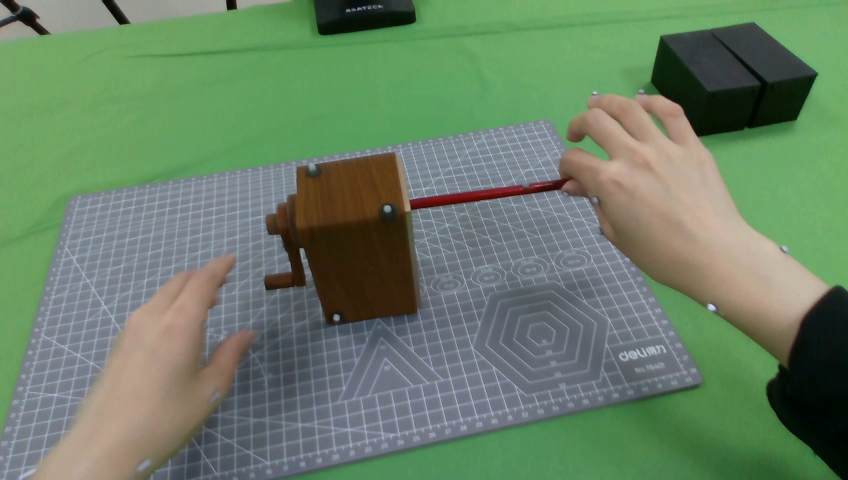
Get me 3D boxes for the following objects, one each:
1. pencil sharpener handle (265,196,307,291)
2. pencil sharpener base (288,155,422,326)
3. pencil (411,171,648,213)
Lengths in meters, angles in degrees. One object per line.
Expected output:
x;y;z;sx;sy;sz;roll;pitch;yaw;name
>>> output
-0.096;0.005;0.402;0.031;0.068;0.035;-8;31;-3;pencil sharpener handle
-0.045;0.004;0.417;0.077;0.108;0.060;-8;47;-3;pencil sharpener base
0.059;-0.030;0.410;0.194;0.012;0.012;-8;46;-7;pencil
